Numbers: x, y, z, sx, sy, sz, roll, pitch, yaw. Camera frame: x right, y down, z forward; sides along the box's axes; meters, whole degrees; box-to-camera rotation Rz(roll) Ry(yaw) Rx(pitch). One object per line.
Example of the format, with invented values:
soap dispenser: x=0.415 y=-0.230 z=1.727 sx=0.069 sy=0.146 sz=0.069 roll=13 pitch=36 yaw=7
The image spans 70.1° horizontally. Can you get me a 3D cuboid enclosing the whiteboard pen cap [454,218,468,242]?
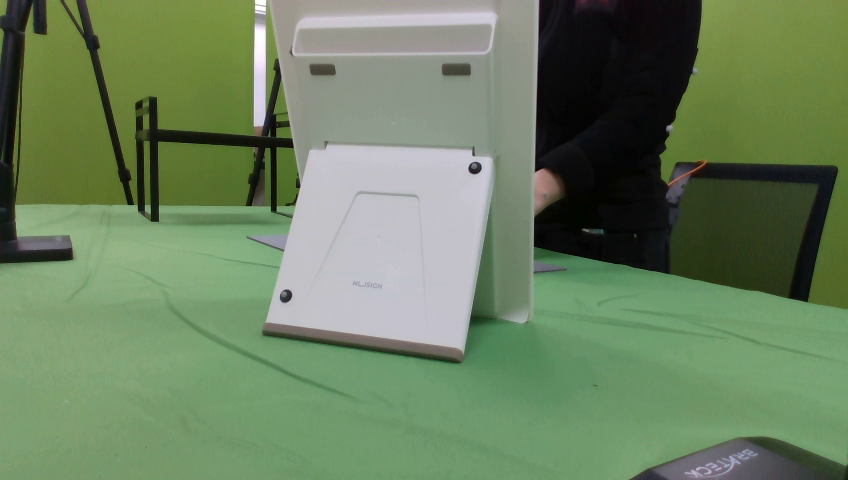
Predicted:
whiteboard pen cap: x=0.052 y=-0.014 z=0.866 sx=0.018 sy=0.033 sz=0.018 roll=10 pitch=6 yaw=-1

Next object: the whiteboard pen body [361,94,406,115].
whiteboard pen body: x=-0.074 y=-0.247 z=1.115 sx=0.017 sy=0.017 sz=0.140 roll=-4 pitch=25 yaw=-40

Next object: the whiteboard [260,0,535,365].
whiteboard: x=-0.037 y=-0.041 z=0.457 sx=0.216 sy=0.305 sz=0.144 roll=5 pitch=28 yaw=19
